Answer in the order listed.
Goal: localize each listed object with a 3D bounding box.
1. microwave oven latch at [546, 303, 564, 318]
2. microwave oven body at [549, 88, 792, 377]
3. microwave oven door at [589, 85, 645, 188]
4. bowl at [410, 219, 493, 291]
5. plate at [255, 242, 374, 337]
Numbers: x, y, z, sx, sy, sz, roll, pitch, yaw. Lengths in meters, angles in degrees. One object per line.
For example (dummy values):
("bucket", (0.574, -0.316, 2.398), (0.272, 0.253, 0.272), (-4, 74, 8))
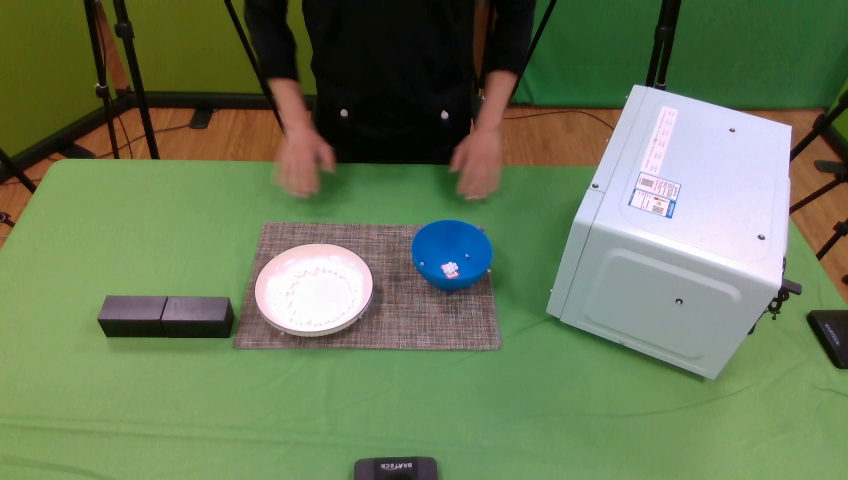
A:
("microwave oven latch", (0.242, 0.102, 1.081), (0.030, 0.029, 0.079), (21, 48, 17))
("microwave oven body", (0.456, -0.028, 1.088), (0.325, 0.261, 0.440), (20, 47, 16))
("microwave oven door", (0.342, -0.107, 1.149), (0.039, 0.245, 0.354), (20, 48, 15))
("bowl", (0.048, 0.041, 1.117), (0.151, 0.077, 0.150), (2, 46, -2))
("plate", (-0.192, 0.090, 1.079), (0.208, 0.039, 0.206), (2, 46, -2))
